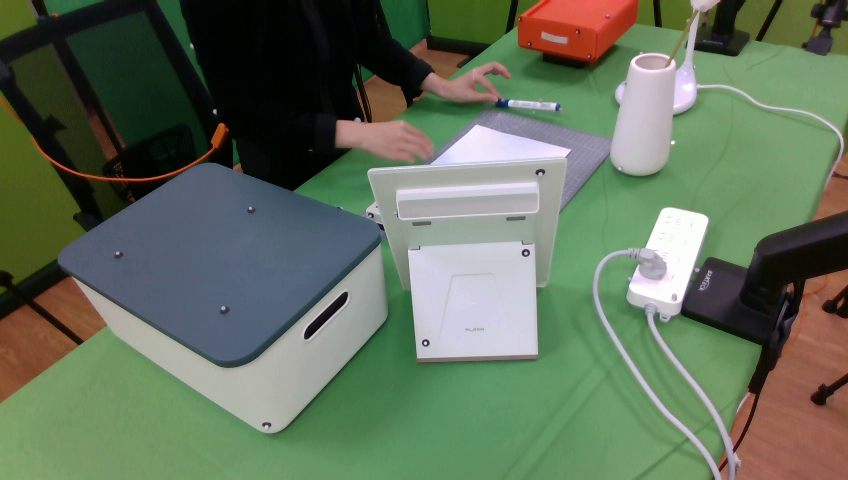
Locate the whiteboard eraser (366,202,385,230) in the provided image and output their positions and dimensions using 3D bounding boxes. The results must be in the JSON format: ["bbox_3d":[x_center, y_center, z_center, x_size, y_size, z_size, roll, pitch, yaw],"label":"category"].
[{"bbox_3d":[-0.038,-0.038,1.006,0.112,0.042,0.055,16,48,25],"label":"whiteboard eraser"}]

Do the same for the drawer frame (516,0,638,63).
[{"bbox_3d":[0.355,-0.508,1.411,0.200,0.083,0.214,23,51,32],"label":"drawer frame"}]

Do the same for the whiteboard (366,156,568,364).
[{"bbox_3d":[0.059,0.050,0.738,0.217,0.307,0.143,-2,60,6],"label":"whiteboard"}]

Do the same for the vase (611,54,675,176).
[{"bbox_3d":[0.377,-0.209,1.031,0.098,0.201,0.097,-4,40,3],"label":"vase"}]

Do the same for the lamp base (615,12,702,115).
[{"bbox_3d":[0.484,-0.364,1.211,0.180,0.181,0.159,-15,41,-13],"label":"lamp base"}]

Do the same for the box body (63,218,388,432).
[{"bbox_3d":[-0.256,0.065,0.827,0.361,0.161,0.255,20,48,29],"label":"box body"}]

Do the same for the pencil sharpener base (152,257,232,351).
[{"bbox_3d":[-0.323,0.088,0.842,0.061,0.107,0.076,-27,44,-20],"label":"pencil sharpener base"}]

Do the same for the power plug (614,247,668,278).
[{"bbox_3d":[0.306,0.031,0.851,0.072,0.053,0.035,24,49,33],"label":"power plug"}]

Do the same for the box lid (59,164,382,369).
[{"bbox_3d":[-0.263,0.010,0.777,0.368,0.015,0.264,20,47,29],"label":"box lid"}]

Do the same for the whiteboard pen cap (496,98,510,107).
[{"bbox_3d":[0.172,-0.294,1.297,0.033,0.018,0.018,17,45,35],"label":"whiteboard pen cap"}]

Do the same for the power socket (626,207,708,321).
[{"bbox_3d":[0.359,0.025,0.886,0.072,0.033,0.227,16,46,26],"label":"power socket"}]

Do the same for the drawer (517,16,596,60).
[{"bbox_3d":[0.353,-0.506,1.405,0.193,0.073,0.212,23,49,32],"label":"drawer"}]

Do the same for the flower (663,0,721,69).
[{"bbox_3d":[0.379,-0.261,0.965,0.044,0.362,0.038,20,53,5],"label":"flower"}]

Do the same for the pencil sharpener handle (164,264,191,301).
[{"bbox_3d":[-0.354,0.055,0.866,0.036,0.068,0.030,-17,39,-29],"label":"pencil sharpener handle"}]

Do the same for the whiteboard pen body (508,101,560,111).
[{"bbox_3d":[0.218,-0.282,1.264,0.139,0.017,0.017,12,43,34],"label":"whiteboard pen body"}]

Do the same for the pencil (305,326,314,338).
[{"bbox_3d":[-0.187,0.105,0.879,0.012,0.012,0.192,-27,42,-22],"label":"pencil"}]
